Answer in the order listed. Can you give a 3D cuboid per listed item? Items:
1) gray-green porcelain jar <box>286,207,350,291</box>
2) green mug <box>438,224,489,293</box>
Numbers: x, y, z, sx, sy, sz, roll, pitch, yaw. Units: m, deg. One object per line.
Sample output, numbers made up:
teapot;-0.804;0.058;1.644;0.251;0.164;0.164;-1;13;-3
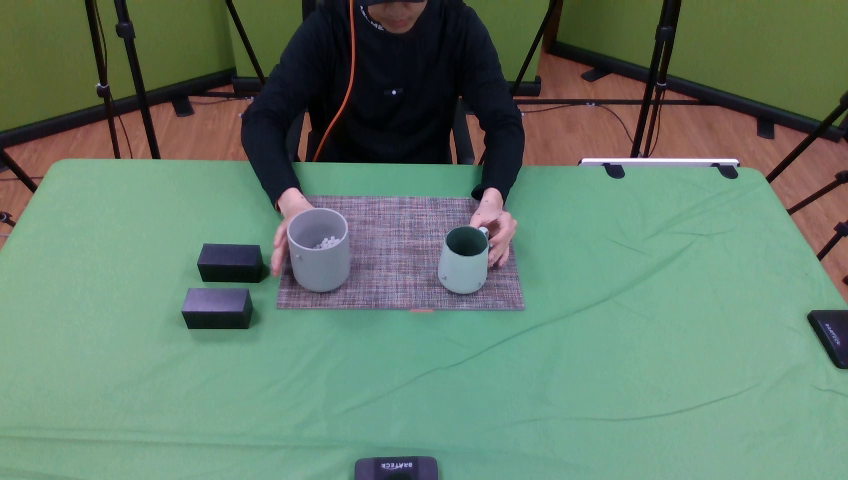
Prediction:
gray-green porcelain jar;-0.186;0.021;1.084;0.106;0.127;0.105;2;47;-2
green mug;0.082;0.026;1.115;0.092;0.105;0.125;27;51;20
